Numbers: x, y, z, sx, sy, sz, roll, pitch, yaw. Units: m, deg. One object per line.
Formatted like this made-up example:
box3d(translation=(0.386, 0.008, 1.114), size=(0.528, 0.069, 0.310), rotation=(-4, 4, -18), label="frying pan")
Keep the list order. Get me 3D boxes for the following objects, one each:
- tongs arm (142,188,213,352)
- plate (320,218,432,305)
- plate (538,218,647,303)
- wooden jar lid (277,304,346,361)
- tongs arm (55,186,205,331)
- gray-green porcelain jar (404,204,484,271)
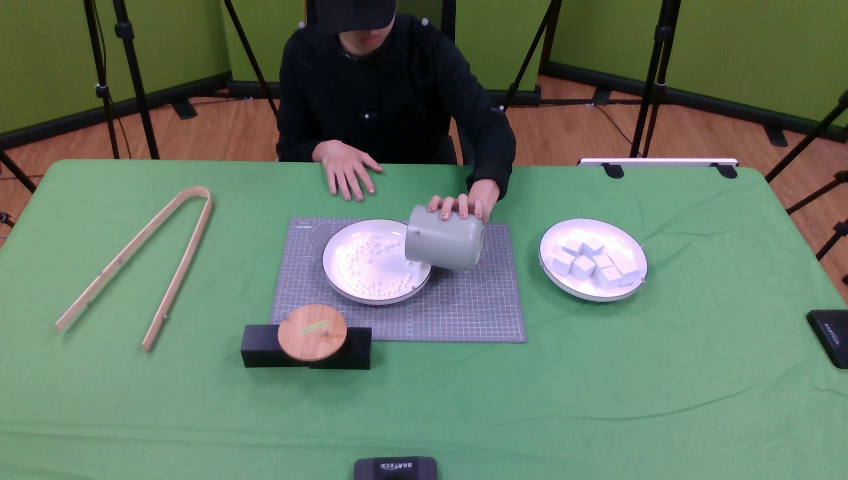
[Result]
box3d(translation=(-0.450, 0.040, 1.122), size=(0.028, 0.028, 0.385), rotation=(2, 46, 1), label="tongs arm")
box3d(translation=(-0.089, 0.044, 1.134), size=(0.209, 0.038, 0.208), rotation=(3, 46, -2), label="plate")
box3d(translation=(0.322, 0.043, 1.171), size=(0.208, 0.039, 0.206), rotation=(2, 46, -2), label="plate")
box3d(translation=(-0.179, 0.150, 0.972), size=(0.108, 0.021, 0.107), rotation=(2, 45, -2), label="wooden jar lid")
box3d(translation=(-0.530, 0.022, 1.125), size=(0.051, 0.026, 0.383), rotation=(15, 46, 8), label="tongs arm")
box3d(translation=(0.038, -0.003, 1.089), size=(0.126, 0.106, 0.105), rotation=(11, 46, 11), label="gray-green porcelain jar")
